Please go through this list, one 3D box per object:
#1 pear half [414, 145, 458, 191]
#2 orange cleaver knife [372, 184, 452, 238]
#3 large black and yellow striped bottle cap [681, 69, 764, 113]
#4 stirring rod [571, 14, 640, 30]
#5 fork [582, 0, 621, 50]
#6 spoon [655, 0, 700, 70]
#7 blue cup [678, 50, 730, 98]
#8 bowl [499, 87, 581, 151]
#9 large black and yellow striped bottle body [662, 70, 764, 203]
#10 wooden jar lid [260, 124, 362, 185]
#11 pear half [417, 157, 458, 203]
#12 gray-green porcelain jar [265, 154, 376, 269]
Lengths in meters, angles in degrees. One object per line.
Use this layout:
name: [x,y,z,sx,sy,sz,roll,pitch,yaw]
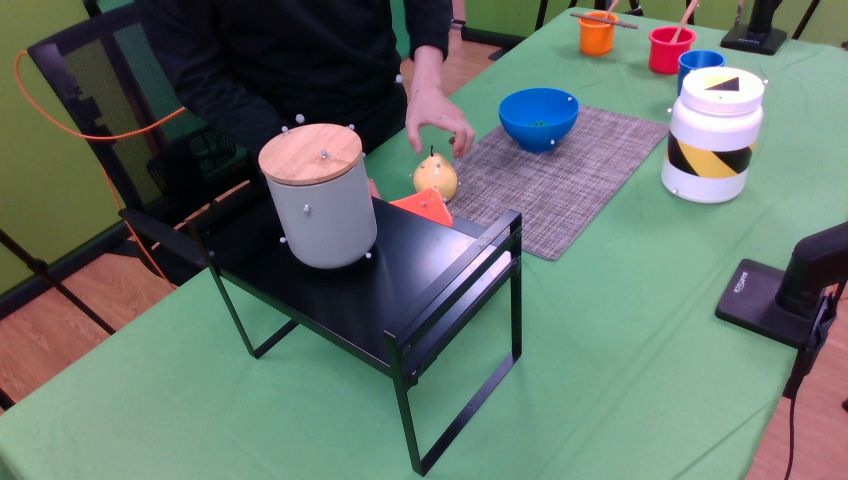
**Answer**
pear half: [0.018,-0.124,1.048,0.076,0.110,0.055,-12,41,-11]
orange cleaver knife: [-0.048,-0.041,0.965,0.210,0.077,0.012,-6,16,36]
large black and yellow striped bottle cap: [0.453,-0.229,0.921,0.115,0.019,0.114,-4,39,4]
stirring rod: [0.419,-0.508,1.404,0.174,0.006,0.014,28,55,35]
fork: [0.446,-0.539,1.438,0.207,0.019,0.028,-57,35,12]
spoon: [0.568,-0.463,1.337,0.041,0.022,0.193,30,97,37]
blue cup: [0.542,-0.310,1.194,0.092,0.101,0.092,-6,41,6]
bowl: [0.221,-0.222,1.156,0.151,0.077,0.150,-4,40,4]
large black and yellow striped bottle body: [0.464,-0.166,0.976,0.131,0.185,0.130,-5,41,5]
wooden jar lid: [-0.119,-0.088,0.644,0.108,0.021,0.108,-4,40,3]
pear half: [0.026,-0.095,1.027,0.071,0.088,0.031,-13,40,-12]
gray-green porcelain jar: [-0.112,-0.039,0.685,0.106,0.127,0.105,-4,40,4]
